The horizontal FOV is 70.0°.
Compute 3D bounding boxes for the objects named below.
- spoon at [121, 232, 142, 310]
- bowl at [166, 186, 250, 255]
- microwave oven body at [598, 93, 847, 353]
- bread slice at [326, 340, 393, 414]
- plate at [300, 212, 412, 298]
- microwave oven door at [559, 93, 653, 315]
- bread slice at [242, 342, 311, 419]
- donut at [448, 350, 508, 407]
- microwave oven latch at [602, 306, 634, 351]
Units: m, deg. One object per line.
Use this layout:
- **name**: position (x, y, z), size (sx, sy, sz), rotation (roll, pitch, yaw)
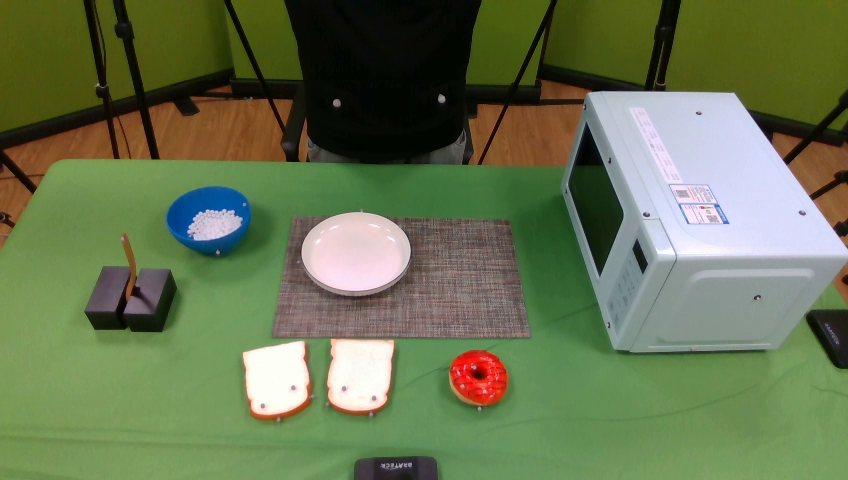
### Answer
- **spoon**: position (-0.479, 0.051, 0.994), size (0.022, 0.194, 0.041), rotation (13, 46, -11)
- **bowl**: position (-0.403, -0.024, 1.154), size (0.151, 0.077, 0.150), rotation (2, 46, -2)
- **microwave oven body**: position (0.475, -0.041, 1.110), size (0.326, 0.261, 0.438), rotation (-1, 45, -4)
- **bread slice**: position (-0.104, 0.219, 0.983), size (0.107, 0.018, 0.133), rotation (0, 45, -4)
- **plate**: position (-0.127, 0.031, 1.145), size (0.208, 0.039, 0.206), rotation (2, 46, -2)
- **microwave oven door**: position (0.327, -0.074, 1.123), size (0.039, 0.245, 0.353), rotation (-1, 46, -5)
- **bread slice**: position (-0.234, 0.223, 0.970), size (0.105, 0.019, 0.130), rotation (-10, 46, -13)
- **donut**: position (0.087, 0.223, 0.977), size (0.099, 0.048, 0.098), rotation (4, 46, -4)
- **microwave oven latch**: position (0.332, 0.153, 1.044), size (0.030, 0.029, 0.078), rotation (-1, 45, -4)
